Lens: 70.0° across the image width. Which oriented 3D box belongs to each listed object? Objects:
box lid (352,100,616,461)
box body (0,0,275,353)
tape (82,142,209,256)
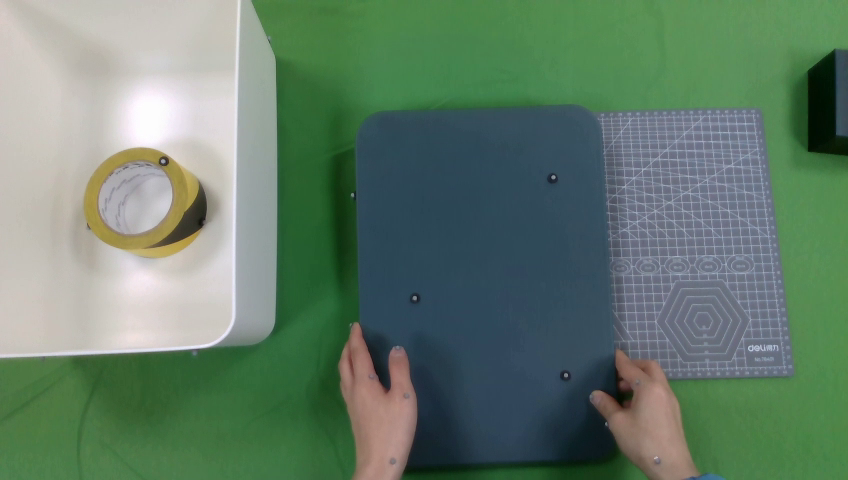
[{"bbox_3d":[0.060,0.036,0.629,0.263,0.015,0.370,-2,86,-1],"label":"box lid"},{"bbox_3d":[-0.288,-0.071,0.606,0.254,0.161,0.362,-3,80,0],"label":"box body"},{"bbox_3d":[-0.297,-0.042,0.650,0.117,0.053,0.116,-1,77,4],"label":"tape"}]
